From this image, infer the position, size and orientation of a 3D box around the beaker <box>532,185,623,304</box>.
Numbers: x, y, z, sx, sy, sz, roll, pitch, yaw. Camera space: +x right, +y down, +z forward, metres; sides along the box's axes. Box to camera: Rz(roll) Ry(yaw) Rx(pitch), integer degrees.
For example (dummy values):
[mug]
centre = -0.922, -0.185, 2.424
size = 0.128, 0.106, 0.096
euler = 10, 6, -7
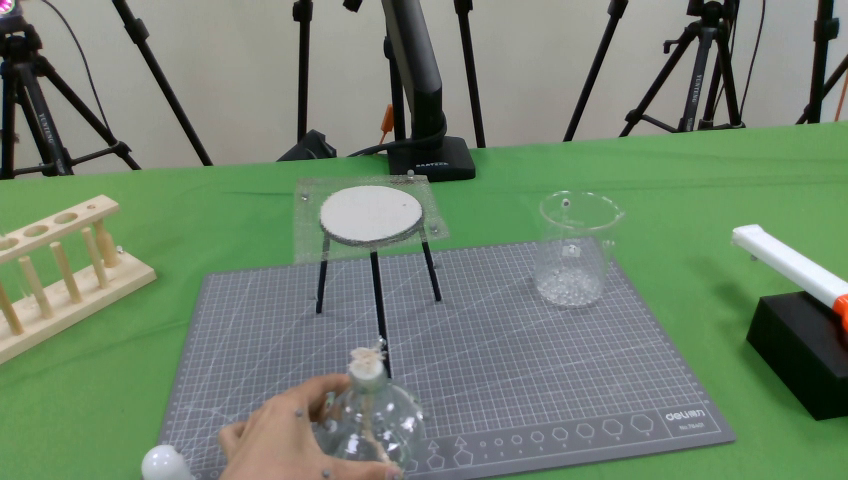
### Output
[beaker]
centre = 0.148, 0.006, 0.600
size = 0.084, 0.101, 0.073
euler = -1, 35, 0

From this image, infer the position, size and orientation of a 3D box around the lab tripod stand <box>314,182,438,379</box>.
[lab tripod stand]
centre = -0.042, 0.028, 0.544
size = 0.148, 0.132, 0.147
euler = 1, 35, 0

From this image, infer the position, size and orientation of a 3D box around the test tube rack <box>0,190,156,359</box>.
[test tube rack]
centre = -0.393, 0.046, 0.577
size = 0.066, 0.086, 0.242
euler = 23, 41, 31

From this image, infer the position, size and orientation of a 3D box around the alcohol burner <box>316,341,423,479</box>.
[alcohol burner]
centre = -0.039, 0.115, 0.431
size = 0.078, 0.120, 0.077
euler = 1, 36, -1

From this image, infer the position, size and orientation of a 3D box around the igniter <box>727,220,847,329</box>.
[igniter]
centre = 0.361, 0.054, 0.509
size = 0.057, 0.025, 0.273
euler = -10, 32, -13

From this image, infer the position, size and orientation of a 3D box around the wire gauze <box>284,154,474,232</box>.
[wire gauze]
centre = -0.040, -0.039, 0.495
size = 0.125, 0.011, 0.120
euler = -12, 31, -28

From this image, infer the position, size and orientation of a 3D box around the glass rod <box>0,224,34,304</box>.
[glass rod]
centre = -0.390, -0.016, 0.550
size = 0.008, 0.201, 0.008
euler = 3, 36, -2

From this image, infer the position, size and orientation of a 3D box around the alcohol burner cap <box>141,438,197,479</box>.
[alcohol burner cap]
centre = -0.185, 0.162, 0.434
size = 0.034, 0.048, 0.033
euler = 0, 34, 0
